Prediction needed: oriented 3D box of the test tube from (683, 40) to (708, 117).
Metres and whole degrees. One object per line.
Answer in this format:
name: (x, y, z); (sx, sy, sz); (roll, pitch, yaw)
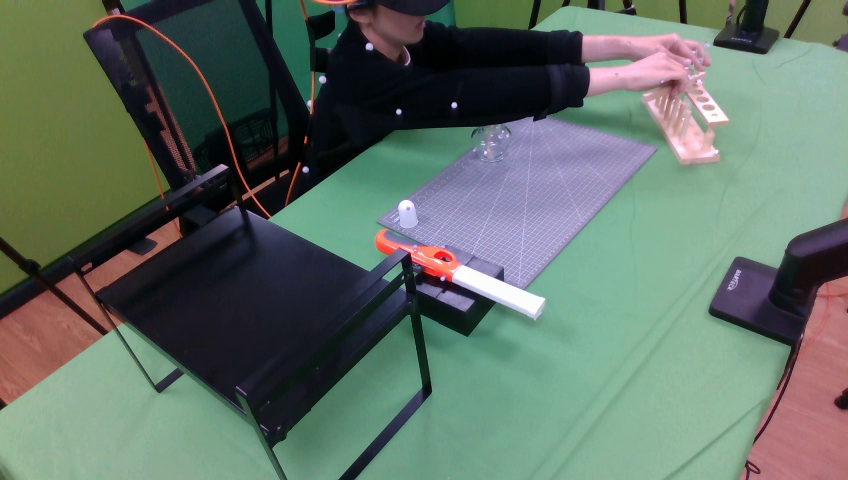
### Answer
test tube: (0.500, -0.295, 1.117); (0.017, 0.151, 0.017); (-3, 41, 3)

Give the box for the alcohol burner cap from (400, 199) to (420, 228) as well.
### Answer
alcohol burner cap: (-0.025, -0.047, 1.014); (0.034, 0.048, 0.033); (-4, 42, 4)

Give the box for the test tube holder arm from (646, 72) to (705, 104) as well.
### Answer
test tube holder arm: (0.444, -0.269, 1.061); (0.179, 0.015, 0.013); (-27, 35, -34)

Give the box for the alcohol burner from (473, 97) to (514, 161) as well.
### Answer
alcohol burner: (0.128, -0.208, 1.123); (0.078, 0.119, 0.077); (-5, 39, 4)

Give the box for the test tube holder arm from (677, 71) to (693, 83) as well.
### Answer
test tube holder arm: (0.471, -0.288, 1.092); (0.010, 0.015, 0.088); (15, 35, 31)

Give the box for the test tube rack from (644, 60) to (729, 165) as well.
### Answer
test tube rack: (0.486, -0.247, 1.139); (0.067, 0.085, 0.241); (-5, 41, 4)

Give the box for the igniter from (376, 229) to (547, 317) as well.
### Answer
igniter: (0.041, 0.041, 0.845); (0.274, 0.025, 0.057); (22, 46, 27)
